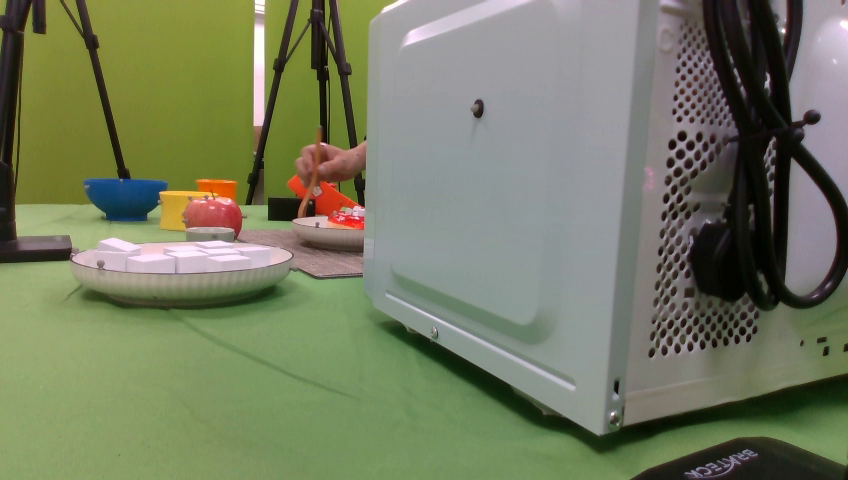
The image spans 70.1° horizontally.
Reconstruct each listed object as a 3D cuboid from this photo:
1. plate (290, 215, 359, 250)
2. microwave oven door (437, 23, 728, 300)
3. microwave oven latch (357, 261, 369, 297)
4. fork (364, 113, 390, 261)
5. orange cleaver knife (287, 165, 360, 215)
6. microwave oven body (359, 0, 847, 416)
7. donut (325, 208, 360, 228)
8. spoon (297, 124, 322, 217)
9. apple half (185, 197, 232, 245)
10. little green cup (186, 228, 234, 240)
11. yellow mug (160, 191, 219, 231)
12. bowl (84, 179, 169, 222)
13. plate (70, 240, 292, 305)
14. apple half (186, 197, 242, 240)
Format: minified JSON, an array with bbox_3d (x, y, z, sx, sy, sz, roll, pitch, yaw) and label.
[{"bbox_3d":[-0.110,-0.013,0.974,0.209,0.038,0.209,3,8,0],"label":"plate"},{"bbox_3d":[0.181,-0.072,0.621,0.358,0.243,0.039,-2,8,-29],"label":"microwave oven door"},{"bbox_3d":[-0.019,0.033,0.531,0.079,0.029,0.030,-1,7,-27],"label":"microwave oven latch"},{"bbox_3d":[-0.061,-0.074,0.823,0.019,0.207,0.028,15,-13,-37],"label":"fork"},{"bbox_3d":[-0.211,-0.092,1.382,0.212,0.077,0.012,34,2,-15],"label":"orange cleaver knife"},{"bbox_3d":[0.211,-0.047,0.474,0.444,0.260,0.324,-1,7,-28],"label":"microwave oven body"},{"bbox_3d":[-0.110,-0.025,0.974,0.099,0.048,0.099,5,8,0],"label":"donut"},{"bbox_3d":[-0.200,-0.109,1.076,0.021,0.193,0.041,14,4,-1],"label":"spoon"},{"bbox_3d":[-0.337,-0.031,0.928,0.032,0.081,0.082,13,13,37],"label":"apple half"},{"bbox_3d":[-0.284,0.005,0.805,0.061,0.038,0.061,2,8,0],"label":"little green cup"},{"bbox_3d":[-0.416,-0.053,1.104,0.130,0.064,0.100,7,9,26],"label":"yellow mug"},{"bbox_3d":[-0.584,-0.078,1.194,0.151,0.077,0.151,3,8,0],"label":"bowl"},{"bbox_3d":[-0.242,0.031,0.618,0.208,0.039,0.207,2,8,0],"label":"plate"},{"bbox_3d":[-0.307,-0.026,0.905,0.053,0.074,0.081,14,9,37],"label":"apple half"}]
